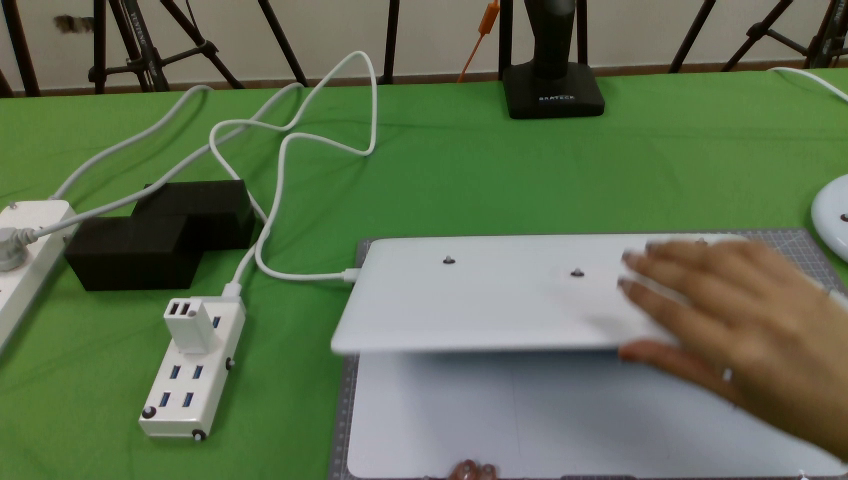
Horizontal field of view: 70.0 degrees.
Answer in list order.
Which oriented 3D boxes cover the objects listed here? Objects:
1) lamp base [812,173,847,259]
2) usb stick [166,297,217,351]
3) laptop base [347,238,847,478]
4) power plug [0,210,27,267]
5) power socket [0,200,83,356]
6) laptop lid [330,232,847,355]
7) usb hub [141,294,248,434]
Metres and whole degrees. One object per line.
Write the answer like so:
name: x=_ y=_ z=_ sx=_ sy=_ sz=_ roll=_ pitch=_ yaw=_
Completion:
lamp base: x=0.467 y=-0.075 z=0.540 sx=0.159 sy=0.182 sz=0.178 roll=21 pitch=46 yaw=24
usb stick: x=-0.184 y=0.073 z=0.488 sx=0.027 sy=0.060 sz=0.021 roll=-2 pitch=43 yaw=3
laptop base: x=0.123 y=0.086 z=0.505 sx=0.354 sy=0.023 sz=0.233 roll=-1 pitch=47 yaw=2
power plug: x=-0.397 y=0.000 z=0.579 sx=0.035 sy=0.053 sz=0.072 roll=-4 pitch=36 yaw=-16
power socket: x=-0.400 y=0.038 z=0.571 sx=0.072 sy=0.033 sz=0.224 roll=0 pitch=43 yaw=1
laptop lid: x=0.120 y=0.030 z=0.470 sx=0.356 sy=0.013 sz=0.240 roll=-1 pitch=17 yaw=4
usb hub: x=-0.187 y=0.099 z=0.503 sx=0.049 sy=0.025 sz=0.124 roll=-1 pitch=43 yaw=4
